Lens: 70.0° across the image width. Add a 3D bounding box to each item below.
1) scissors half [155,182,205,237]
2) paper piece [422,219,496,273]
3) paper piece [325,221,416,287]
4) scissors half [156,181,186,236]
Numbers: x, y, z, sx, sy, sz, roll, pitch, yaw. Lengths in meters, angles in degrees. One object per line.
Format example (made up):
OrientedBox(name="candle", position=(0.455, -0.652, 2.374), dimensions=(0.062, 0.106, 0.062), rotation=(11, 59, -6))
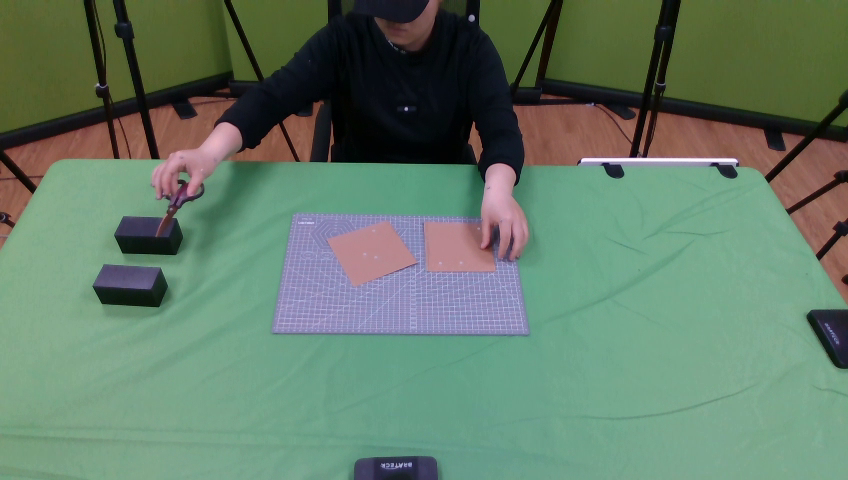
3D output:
OrientedBox(name="scissors half", position=(-0.443, -0.058, 1.099), dimensions=(0.040, 0.013, 0.174), rotation=(6, 37, 7))
OrientedBox(name="paper piece", position=(0.067, 0.012, 1.197), dimensions=(0.138, 0.009, 0.135), rotation=(2, 50, -5))
OrientedBox(name="paper piece", position=(-0.105, 0.022, 1.174), dimensions=(0.135, 0.004, 0.135), rotation=(-19, 50, -21))
OrientedBox(name="scissors half", position=(-0.464, -0.059, 1.098), dimensions=(0.040, 0.013, 0.174), rotation=(-1, 37, -10))
